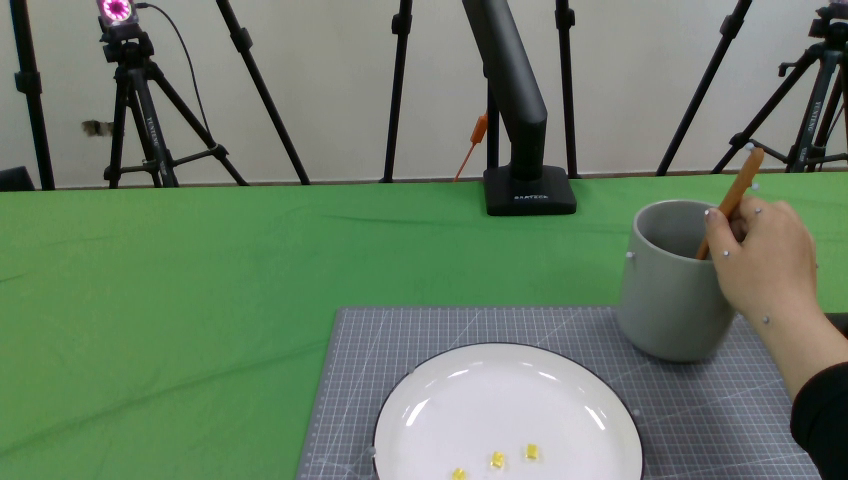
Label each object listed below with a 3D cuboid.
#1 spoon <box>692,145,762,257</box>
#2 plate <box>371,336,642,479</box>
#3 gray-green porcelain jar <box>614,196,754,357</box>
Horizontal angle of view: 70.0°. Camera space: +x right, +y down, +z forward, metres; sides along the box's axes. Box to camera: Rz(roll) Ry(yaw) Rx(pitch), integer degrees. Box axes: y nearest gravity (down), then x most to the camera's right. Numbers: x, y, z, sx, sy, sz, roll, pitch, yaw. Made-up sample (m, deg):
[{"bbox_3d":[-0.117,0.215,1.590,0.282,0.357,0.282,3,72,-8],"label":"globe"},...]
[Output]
[{"bbox_3d":[0.248,0.004,0.533,0.022,0.195,0.041,-2,39,-11],"label":"spoon"},{"bbox_3d":[0.063,0.161,0.484,0.207,0.039,0.205,-2,34,1],"label":"plate"},{"bbox_3d":[0.239,0.038,0.574,0.106,0.127,0.105,-2,35,2],"label":"gray-green porcelain jar"}]
